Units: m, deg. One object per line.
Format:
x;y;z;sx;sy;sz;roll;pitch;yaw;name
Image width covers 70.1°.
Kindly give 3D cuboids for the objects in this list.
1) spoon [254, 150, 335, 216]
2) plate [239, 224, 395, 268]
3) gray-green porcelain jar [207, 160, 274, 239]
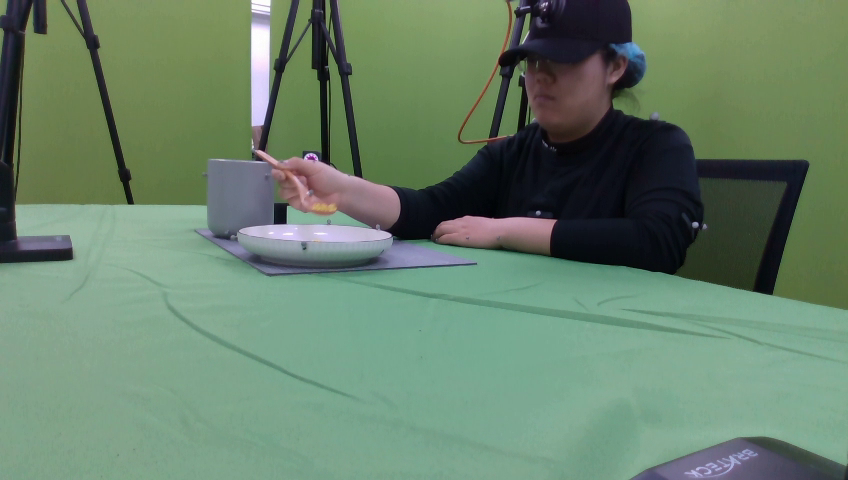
-0.189;-0.084;0.860;0.042;0.021;0.193;-5;39;-47;spoon
-0.144;0.007;0.823;0.208;0.039;0.207;3;7;0;plate
-0.304;-0.068;1.003;0.106;0.126;0.106;3;7;0;gray-green porcelain jar
